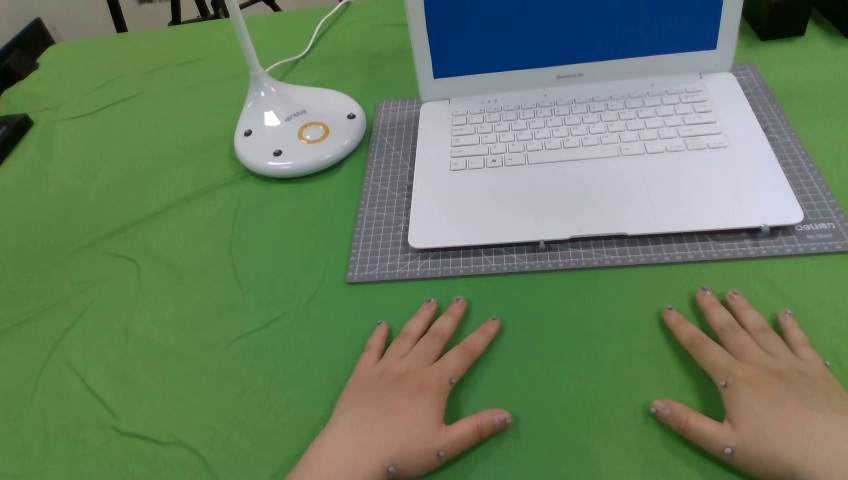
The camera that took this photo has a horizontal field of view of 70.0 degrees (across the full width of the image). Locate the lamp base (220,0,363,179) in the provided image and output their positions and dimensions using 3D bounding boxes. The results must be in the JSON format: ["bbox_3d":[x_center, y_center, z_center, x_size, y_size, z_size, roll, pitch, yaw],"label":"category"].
[{"bbox_3d":[-0.173,-0.186,0.681,0.177,0.182,0.160,27,57,35],"label":"lamp base"}]

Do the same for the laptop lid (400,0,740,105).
[{"bbox_3d":[0.149,-0.262,0.633,0.356,0.244,0.013,-5,39,9],"label":"laptop lid"}]

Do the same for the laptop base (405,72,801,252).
[{"bbox_3d":[0.161,-0.083,0.627,0.354,0.023,0.233,-4,49,8],"label":"laptop base"}]
